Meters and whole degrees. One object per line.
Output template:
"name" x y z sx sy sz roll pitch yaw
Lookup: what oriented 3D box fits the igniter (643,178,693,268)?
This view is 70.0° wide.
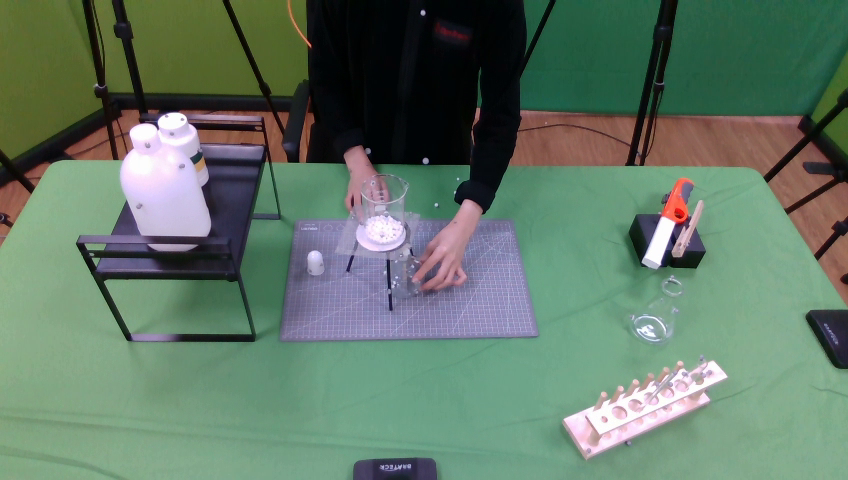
"igniter" 0.488 -0.042 1.205 0.057 0.025 0.276 30 51 11

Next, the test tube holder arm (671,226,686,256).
"test tube holder arm" 0.494 0.001 1.167 0.010 0.015 0.087 1 36 42

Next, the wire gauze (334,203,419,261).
"wire gauze" -0.079 -0.013 1.031 0.121 0.011 0.124 8 48 7

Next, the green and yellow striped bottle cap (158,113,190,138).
"green and yellow striped bottle cap" -0.393 -0.180 0.951 0.045 0.020 0.045 2 44 -2

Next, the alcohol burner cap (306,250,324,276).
"alcohol burner cap" -0.204 0.040 1.125 0.034 0.048 0.033 2 46 -2

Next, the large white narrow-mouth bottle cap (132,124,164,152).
"large white narrow-mouth bottle cap" -0.371 -0.137 0.812 0.038 0.024 0.037 3 46 -3

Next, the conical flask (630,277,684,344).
"conical flask" 0.408 0.117 1.045 0.075 0.122 0.075 2 46 -2

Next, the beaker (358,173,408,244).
"beaker" -0.066 -0.050 1.000 0.084 0.101 0.073 -18 49 -20

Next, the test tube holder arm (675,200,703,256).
"test tube holder arm" 0.523 -0.025 1.190 0.013 0.015 0.178 0 36 41

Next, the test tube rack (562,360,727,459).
"test tube rack" 0.341 0.247 0.940 0.243 0.085 0.066 -16 49 -19

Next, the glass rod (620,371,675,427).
"glass rod" 0.315 0.230 0.863 0.008 0.200 0.008 3 54 -3

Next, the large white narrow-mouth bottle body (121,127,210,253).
"large white narrow-mouth bottle body" -0.378 -0.077 0.875 0.102 0.195 0.101 3 46 -3

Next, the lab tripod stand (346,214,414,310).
"lab tripod stand" -0.075 0.030 1.082 0.148 0.132 0.147 1 47 -1

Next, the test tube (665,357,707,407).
"test tube" 0.387 0.215 0.905 0.017 0.151 0.017 1 52 -1

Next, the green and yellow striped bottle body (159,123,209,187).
"green and yellow striped bottle body" -0.395 -0.145 0.989 0.063 0.120 0.063 2 46 -2

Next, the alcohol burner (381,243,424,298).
"alcohol burner" -0.039 0.048 1.080 0.078 0.120 0.077 1 48 0
